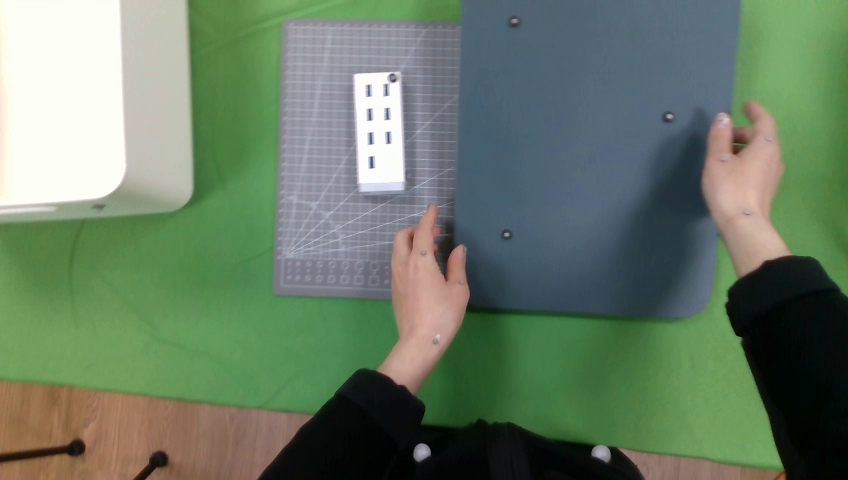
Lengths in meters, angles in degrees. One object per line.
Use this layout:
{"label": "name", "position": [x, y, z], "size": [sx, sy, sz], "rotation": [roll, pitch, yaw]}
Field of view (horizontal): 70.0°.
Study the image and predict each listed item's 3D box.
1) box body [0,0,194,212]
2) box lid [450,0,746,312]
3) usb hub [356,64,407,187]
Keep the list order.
{"label": "box body", "position": [-0.372, -0.210, 0.584], "size": [0.254, 0.160, 0.363], "rotation": [-3, 87, 2]}
{"label": "box lid", "position": [0.163, -0.111, 0.593], "size": [0.263, 0.015, 0.372], "rotation": [3, 100, 3]}
{"label": "usb hub", "position": [-0.044, -0.119, 0.633], "size": [0.049, 0.025, 0.125], "rotation": [-2, 88, 2]}
